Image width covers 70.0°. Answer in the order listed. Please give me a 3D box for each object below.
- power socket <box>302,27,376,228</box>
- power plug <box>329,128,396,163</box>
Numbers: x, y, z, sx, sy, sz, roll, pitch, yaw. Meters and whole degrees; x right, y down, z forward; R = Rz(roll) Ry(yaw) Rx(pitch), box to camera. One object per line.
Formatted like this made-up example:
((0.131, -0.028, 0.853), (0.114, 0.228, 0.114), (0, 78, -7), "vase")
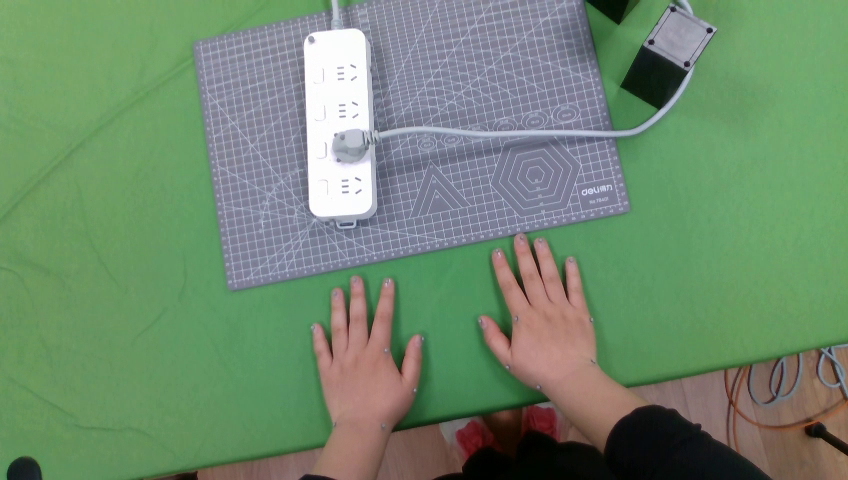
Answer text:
((-0.094, -0.127, 0.671), (0.072, 0.033, 0.226), (-4, 83, 5), "power socket")
((-0.065, -0.099, 0.647), (0.072, 0.053, 0.035), (7, 84, 5), "power plug")
